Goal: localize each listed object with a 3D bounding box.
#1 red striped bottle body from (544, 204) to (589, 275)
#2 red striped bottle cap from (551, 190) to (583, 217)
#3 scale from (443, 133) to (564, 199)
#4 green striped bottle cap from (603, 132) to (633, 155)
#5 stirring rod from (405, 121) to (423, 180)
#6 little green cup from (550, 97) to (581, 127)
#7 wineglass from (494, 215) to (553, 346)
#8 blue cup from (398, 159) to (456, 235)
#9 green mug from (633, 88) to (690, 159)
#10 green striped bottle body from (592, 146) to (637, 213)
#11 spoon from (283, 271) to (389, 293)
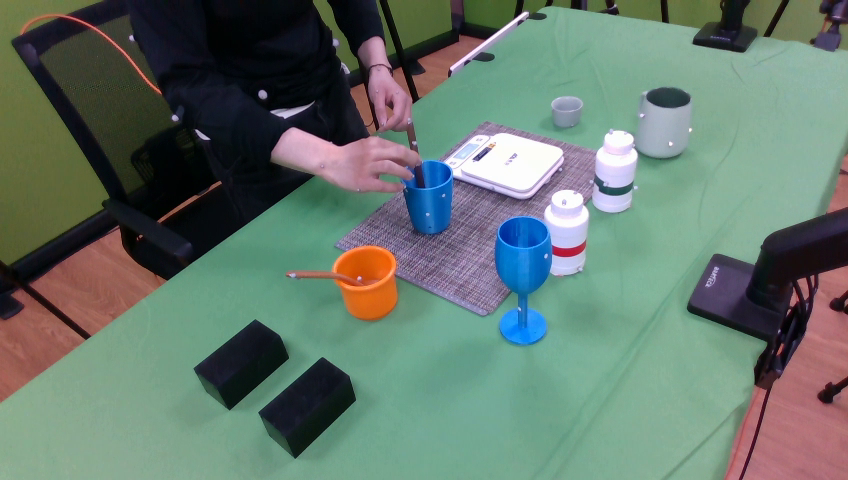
[{"bbox_3d":[0.206,-0.011,0.877,0.063,0.120,0.062,-5,41,4],"label":"red striped bottle body"},{"bbox_3d":[0.199,-0.051,0.843,0.044,0.018,0.044,-2,41,2],"label":"red striped bottle cap"},{"bbox_3d":[0.137,-0.142,1.101,0.199,0.032,0.149,22,48,30],"label":"scale"},{"bbox_3d":[0.302,-0.149,0.939,0.044,0.020,0.044,-3,40,3],"label":"green striped bottle cap"},{"bbox_3d":[-0.009,-0.106,0.946,0.006,0.177,0.014,18,47,32],"label":"stirring rod"},{"bbox_3d":[0.284,-0.255,1.213,0.061,0.039,0.061,-5,41,5],"label":"little green cup"},{"bbox_3d":[0.127,0.055,0.770,0.074,0.173,0.073,-4,40,4],"label":"wineglass"},{"bbox_3d":[0.007,-0.065,0.977,0.092,0.100,0.092,-4,40,4],"label":"blue cup"},{"bbox_3d":[0.423,-0.217,1.099,0.093,0.105,0.124,-16,41,-10],"label":"green mug"},{"bbox_3d":[0.307,-0.108,0.976,0.063,0.120,0.063,-4,41,4],"label":"green striped bottle body"},{"bbox_3d":[-0.116,0.054,0.824,0.041,0.195,0.021,22,92,37],"label":"spoon"}]
